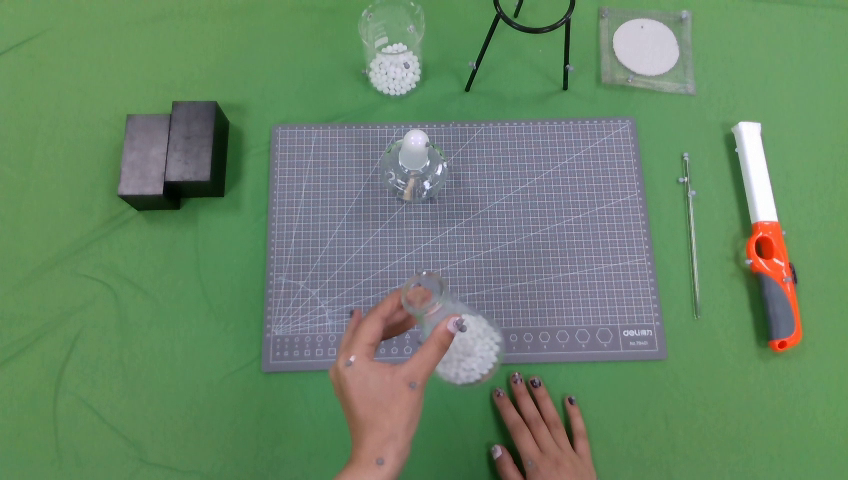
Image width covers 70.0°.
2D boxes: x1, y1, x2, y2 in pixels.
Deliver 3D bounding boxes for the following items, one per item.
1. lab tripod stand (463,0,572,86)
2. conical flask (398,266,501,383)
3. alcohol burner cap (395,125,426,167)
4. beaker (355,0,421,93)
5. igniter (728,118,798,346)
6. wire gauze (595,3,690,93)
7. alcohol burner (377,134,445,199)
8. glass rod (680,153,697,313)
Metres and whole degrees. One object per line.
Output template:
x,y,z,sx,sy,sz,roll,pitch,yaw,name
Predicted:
0.113,-0.247,0.714,0.148,0.132,0.147,0,76,-1,lab tripod stand
0.017,0.068,0.514,0.075,0.123,0.074,-10,56,16,conical flask
-0.012,-0.103,0.641,0.034,0.048,0.033,3,67,-8,alcohol burner cap
-0.038,-0.231,0.724,0.084,0.101,0.073,-42,79,-12,beaker
0.396,-0.015,0.710,0.057,0.025,0.275,1,74,-12,igniter
0.284,-0.253,0.784,0.125,0.011,0.121,6,75,-1,wire gauze
-0.014,-0.091,0.675,0.078,0.119,0.077,1,73,-3,alcohol burner
0.312,-0.012,0.718,0.008,0.008,0.198,3,74,0,glass rod
